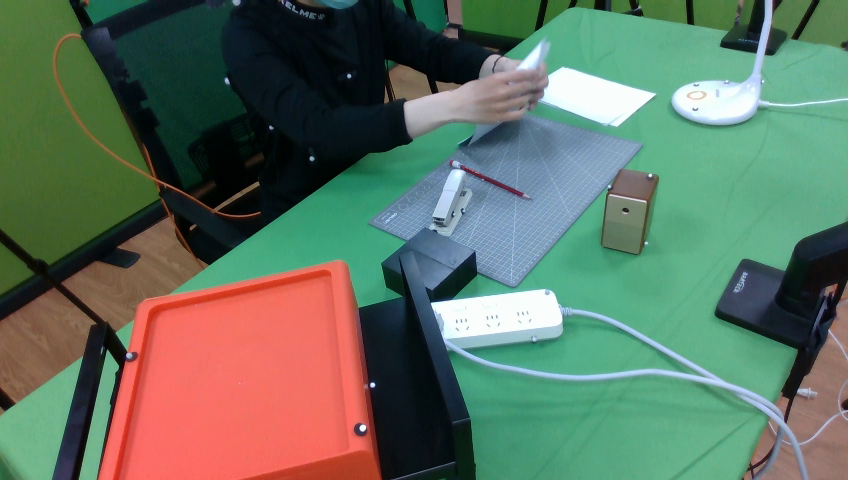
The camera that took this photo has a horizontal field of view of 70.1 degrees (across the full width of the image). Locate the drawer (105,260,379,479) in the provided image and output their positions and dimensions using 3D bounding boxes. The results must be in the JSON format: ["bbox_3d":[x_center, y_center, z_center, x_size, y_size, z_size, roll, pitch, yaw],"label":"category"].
[{"bbox_3d":[-0.150,0.127,0.524,0.195,0.073,0.210,-11,41,-5],"label":"drawer"}]

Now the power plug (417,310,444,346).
[{"bbox_3d":[0.006,0.122,0.785,0.035,0.053,0.072,-1,40,8],"label":"power plug"}]

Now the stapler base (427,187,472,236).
[{"bbox_3d":[0.045,-0.057,1.028,0.041,0.024,0.130,10,44,20],"label":"stapler base"}]

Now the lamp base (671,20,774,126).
[{"bbox_3d":[0.581,-0.332,1.154,0.179,0.181,0.160,2,41,7],"label":"lamp base"}]

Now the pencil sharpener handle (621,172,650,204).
[{"bbox_3d":[0.328,-0.086,0.940,0.036,0.068,0.030,30,49,7],"label":"pencil sharpener handle"}]

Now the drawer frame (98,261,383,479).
[{"bbox_3d":[-0.148,0.129,0.519,0.202,0.083,0.212,-12,41,-6],"label":"drawer frame"}]

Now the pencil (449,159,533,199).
[{"bbox_3d":[0.118,-0.110,1.091,0.192,0.012,0.012,30,53,33],"label":"pencil"}]

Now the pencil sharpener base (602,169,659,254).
[{"bbox_3d":[0.312,-0.044,0.913,0.061,0.107,0.077,14,45,24],"label":"pencil sharpener base"}]

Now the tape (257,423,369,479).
[{"bbox_3d":[-0.121,0.262,0.660,0.117,0.053,0.116,-4,40,4],"label":"tape"}]

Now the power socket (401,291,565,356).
[{"bbox_3d":[0.080,0.112,0.822,0.227,0.033,0.072,-6,41,0],"label":"power socket"}]

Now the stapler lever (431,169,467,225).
[{"bbox_3d":[0.043,-0.074,1.010,0.026,0.040,0.118,9,44,20],"label":"stapler lever"}]
